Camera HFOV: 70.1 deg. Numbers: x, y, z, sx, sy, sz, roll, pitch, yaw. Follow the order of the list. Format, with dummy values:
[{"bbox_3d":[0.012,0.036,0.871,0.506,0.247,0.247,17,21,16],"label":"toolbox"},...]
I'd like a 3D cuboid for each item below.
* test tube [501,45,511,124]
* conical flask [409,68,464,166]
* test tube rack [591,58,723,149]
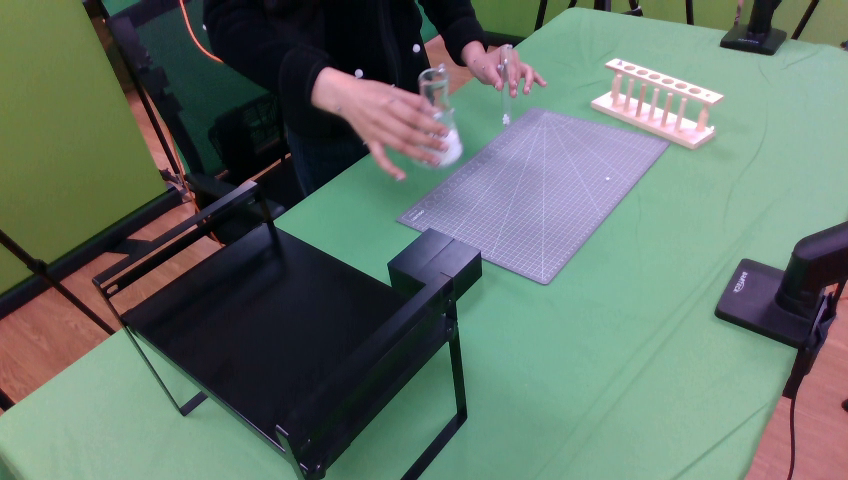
[{"bbox_3d":[0.139,-0.260,1.025,0.017,0.151,0.017,-4,46,5],"label":"test tube"},{"bbox_3d":[0.015,-0.162,0.793,0.075,0.122,0.075,-1,46,2],"label":"conical flask"},{"bbox_3d":[0.442,-0.269,1.171,0.067,0.085,0.240,-30,46,-24],"label":"test tube rack"}]
